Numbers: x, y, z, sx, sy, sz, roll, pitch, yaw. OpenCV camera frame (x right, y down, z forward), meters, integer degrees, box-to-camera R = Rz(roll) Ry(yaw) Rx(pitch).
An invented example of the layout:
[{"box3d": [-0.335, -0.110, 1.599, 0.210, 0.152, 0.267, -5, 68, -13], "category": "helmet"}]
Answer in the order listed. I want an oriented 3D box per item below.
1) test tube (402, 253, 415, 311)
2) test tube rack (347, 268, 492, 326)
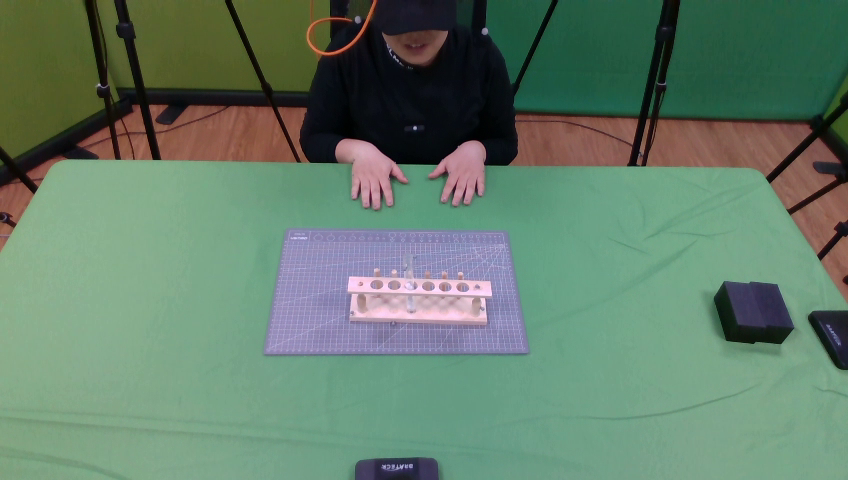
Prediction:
[{"box3d": [-0.025, 0.073, 1.010, 0.017, 0.151, 0.017, -1, 49, 1], "category": "test tube"}, {"box3d": [-0.009, 0.095, 1.059, 0.242, 0.085, 0.066, 2, 46, -2], "category": "test tube rack"}]
